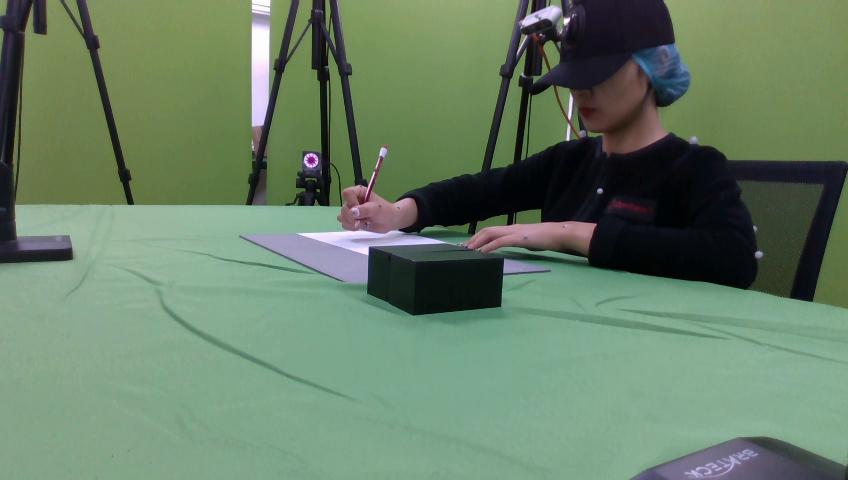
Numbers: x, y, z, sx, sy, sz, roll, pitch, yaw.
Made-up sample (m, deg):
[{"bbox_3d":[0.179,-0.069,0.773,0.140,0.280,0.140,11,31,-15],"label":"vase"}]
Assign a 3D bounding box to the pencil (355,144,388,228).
[{"bbox_3d":[-0.089,-0.094,1.024,0.012,0.194,0.012,10,-36,7],"label":"pencil"}]
